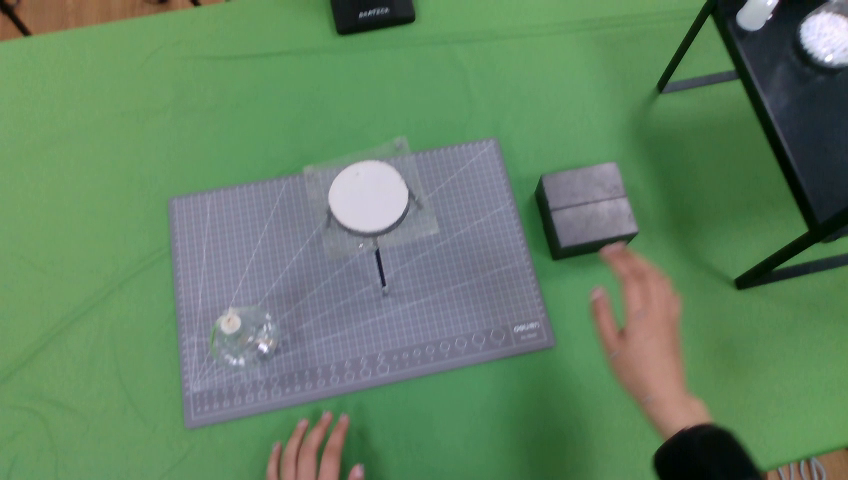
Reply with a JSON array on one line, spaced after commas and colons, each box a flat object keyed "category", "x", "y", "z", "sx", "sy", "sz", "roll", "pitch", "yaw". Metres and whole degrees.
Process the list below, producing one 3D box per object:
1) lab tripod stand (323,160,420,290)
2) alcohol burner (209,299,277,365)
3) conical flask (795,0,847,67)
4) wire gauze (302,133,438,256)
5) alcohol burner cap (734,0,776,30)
[{"category": "lab tripod stand", "x": -0.061, "y": -0.030, "z": 0.727, "sx": 0.148, "sy": 0.132, "sz": 0.147, "roll": 0, "pitch": 68, "yaw": -1}, {"category": "alcohol burner", "x": -0.210, "y": 0.100, "z": 0.688, "sx": 0.078, "sy": 0.120, "sz": 0.077, "roll": 1, "pitch": 68, "yaw": -2}, {"category": "conical flask", "x": 0.456, "y": -0.246, "z": 0.633, "sx": 0.075, "sy": 0.122, "sz": 0.075, "roll": 0, "pitch": 69, "yaw": -1}, {"category": "wire gauze", "x": -0.061, "y": -0.051, "z": 0.664, "sx": 0.125, "sy": 0.011, "sz": 0.120, "roll": -16, "pitch": 71, "yaw": -7}, {"category": "alcohol burner cap", "x": 0.375, "y": -0.263, "z": 0.679, "sx": 0.034, "sy": 0.048, "sz": 0.033, "roll": 0, "pitch": 71, "yaw": 0}]
